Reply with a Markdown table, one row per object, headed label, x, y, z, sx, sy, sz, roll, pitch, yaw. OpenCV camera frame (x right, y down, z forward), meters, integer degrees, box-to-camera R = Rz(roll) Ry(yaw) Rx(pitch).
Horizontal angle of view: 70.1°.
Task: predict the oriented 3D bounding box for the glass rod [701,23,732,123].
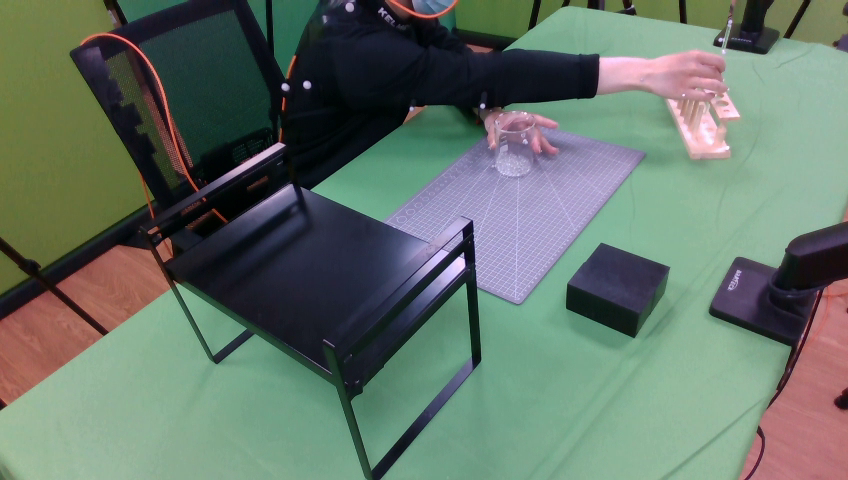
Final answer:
| label | x | y | z | sx | sy | sz | roll | pitch | yaw |
| --- | --- | --- | --- | --- | --- | --- | --- | --- | --- |
| glass rod | 0.521 | -0.293 | 1.083 | 0.008 | 0.200 | 0.008 | -4 | 46 | 4 |

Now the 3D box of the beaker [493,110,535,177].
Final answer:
| label | x | y | z | sx | sy | sz | roll | pitch | yaw |
| --- | --- | --- | --- | --- | --- | --- | --- | --- | --- |
| beaker | 0.165 | -0.173 | 1.083 | 0.084 | 0.101 | 0.073 | -34 | 48 | -27 |

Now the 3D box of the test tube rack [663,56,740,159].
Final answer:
| label | x | y | z | sx | sy | sz | roll | pitch | yaw |
| --- | --- | --- | --- | --- | --- | --- | --- | --- | --- |
| test tube rack | 0.518 | -0.256 | 1.144 | 0.066 | 0.085 | 0.241 | -1 | 41 | 8 |
